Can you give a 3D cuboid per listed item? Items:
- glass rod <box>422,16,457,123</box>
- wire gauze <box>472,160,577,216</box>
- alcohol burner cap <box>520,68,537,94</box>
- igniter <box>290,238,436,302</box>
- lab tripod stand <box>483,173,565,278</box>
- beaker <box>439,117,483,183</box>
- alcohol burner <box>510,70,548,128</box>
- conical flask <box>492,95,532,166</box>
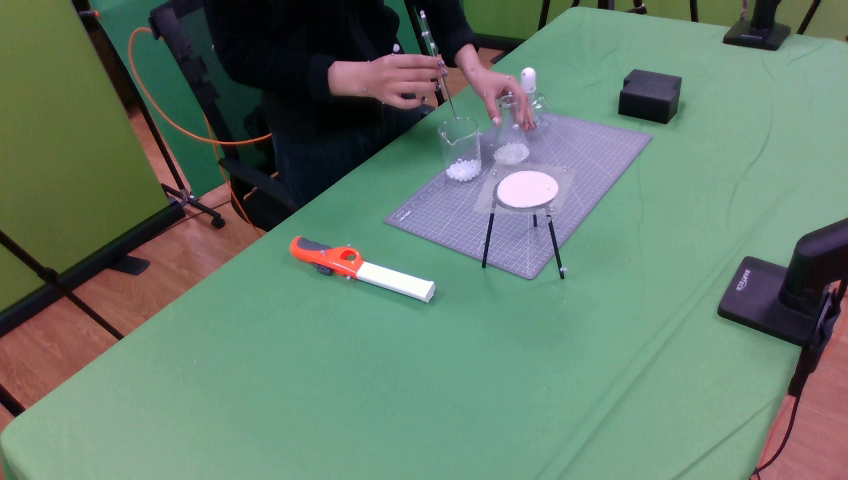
[{"bbox_3d":[0.026,-0.270,0.980,0.008,0.201,0.008,-11,45,12],"label":"glass rod"},{"bbox_3d":[0.143,-0.073,0.850,0.121,0.011,0.125,8,43,22],"label":"wire gauze"},{"bbox_3d":[0.205,-0.313,1.183,0.034,0.048,0.033,-3,50,4],"label":"alcohol burner cap"},{"bbox_3d":[-0.106,0.043,0.949,0.274,0.025,0.057,16,57,27],"label":"igniter"},{"bbox_3d":[0.151,-0.025,0.896,0.148,0.132,0.147,-7,40,6],"label":"lab tripod stand"},{"bbox_3d":[0.068,-0.160,1.097,0.073,0.101,0.084,7,43,19],"label":"beaker"},{"bbox_3d":[0.209,-0.287,1.207,0.078,0.119,0.077,-5,42,5],"label":"alcohol burner"},{"bbox_3d":[0.159,-0.203,1.111,0.075,0.122,0.075,-5,40,5],"label":"conical flask"}]
